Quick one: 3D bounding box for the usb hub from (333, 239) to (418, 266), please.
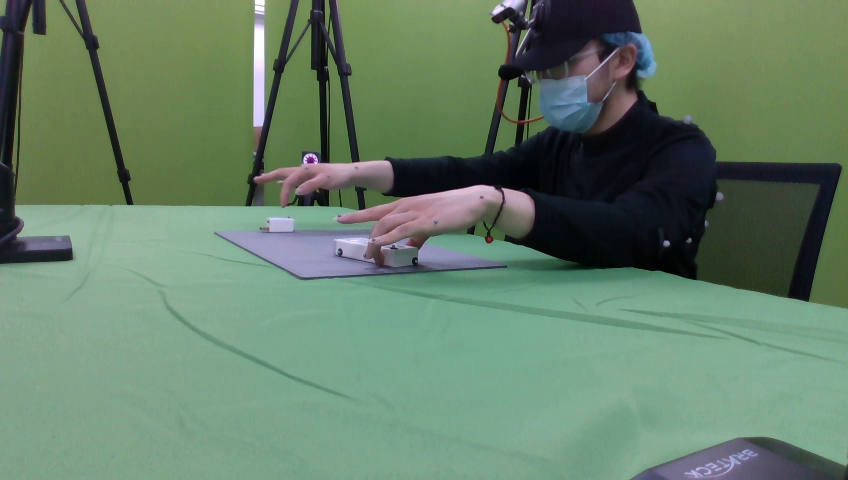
[{"bbox_3d":[-0.070,0.015,0.834,0.124,0.025,0.050,8,7,43],"label":"usb hub"}]

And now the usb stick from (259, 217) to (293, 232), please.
[{"bbox_3d":[-0.268,-0.028,1.094,0.059,0.027,0.021,-5,13,-32],"label":"usb stick"}]
